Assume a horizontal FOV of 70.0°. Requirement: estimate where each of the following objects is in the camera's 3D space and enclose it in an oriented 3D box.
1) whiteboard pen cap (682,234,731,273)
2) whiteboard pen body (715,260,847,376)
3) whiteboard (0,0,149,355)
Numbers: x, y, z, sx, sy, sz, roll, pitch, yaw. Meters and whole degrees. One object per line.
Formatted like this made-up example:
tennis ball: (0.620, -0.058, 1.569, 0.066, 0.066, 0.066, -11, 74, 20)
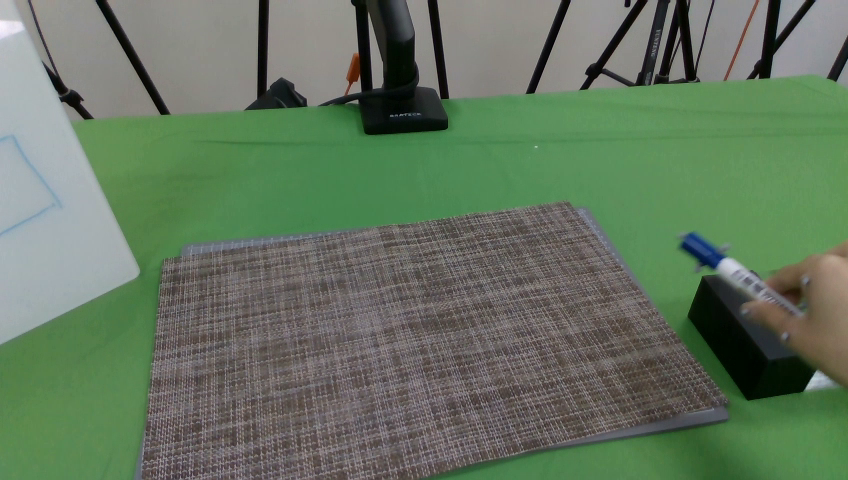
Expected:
whiteboard pen cap: (0.216, 0.011, 0.463, 0.018, 0.018, 0.033, -27, 57, -31)
whiteboard pen body: (0.254, 0.049, 0.435, 0.017, 0.017, 0.139, -29, 59, -32)
whiteboard: (-0.427, -0.058, 0.526, 0.217, 0.308, 0.142, -32, 29, -34)
